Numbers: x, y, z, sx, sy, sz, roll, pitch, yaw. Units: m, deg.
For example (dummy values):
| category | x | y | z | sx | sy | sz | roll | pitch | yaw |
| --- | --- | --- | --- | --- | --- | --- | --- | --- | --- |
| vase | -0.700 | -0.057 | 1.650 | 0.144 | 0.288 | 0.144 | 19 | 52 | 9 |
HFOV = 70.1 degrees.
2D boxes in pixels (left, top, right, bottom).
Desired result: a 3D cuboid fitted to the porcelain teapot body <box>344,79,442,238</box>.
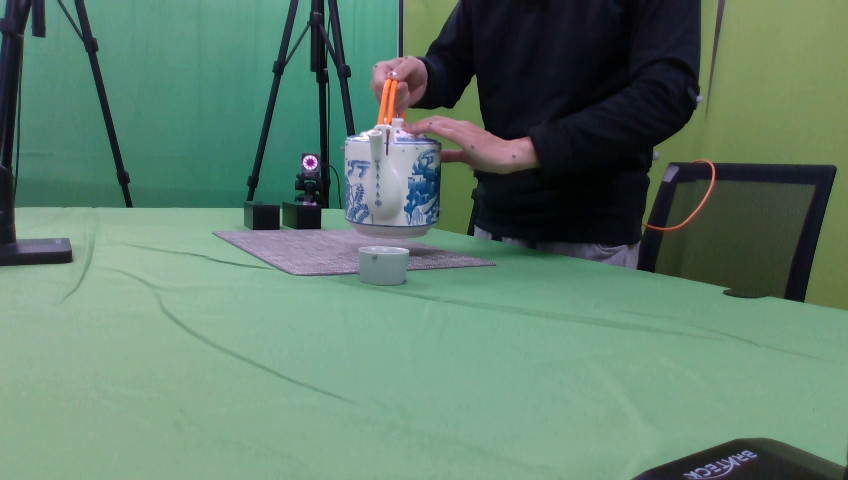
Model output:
| category | x | y | z | sx | sy | sz | roll | pitch | yaw |
| --- | --- | --- | --- | --- | --- | --- | --- | --- | --- |
| porcelain teapot body | -0.049 | -0.117 | 0.872 | 0.145 | 0.225 | 0.205 | 3 | 13 | 5 |

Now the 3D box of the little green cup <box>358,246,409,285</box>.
| category | x | y | z | sx | sy | sz | roll | pitch | yaw |
| --- | --- | --- | --- | --- | --- | --- | --- | --- | --- |
| little green cup | -0.048 | 0.030 | 0.707 | 0.061 | 0.038 | 0.061 | 2 | 8 | 0 |

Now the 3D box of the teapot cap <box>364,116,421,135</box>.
| category | x | y | z | sx | sy | sz | roll | pitch | yaw |
| --- | --- | --- | --- | --- | --- | --- | --- | --- | --- |
| teapot cap | -0.046 | -0.161 | 0.892 | 0.085 | 0.044 | 0.085 | 0 | 15 | 0 |
